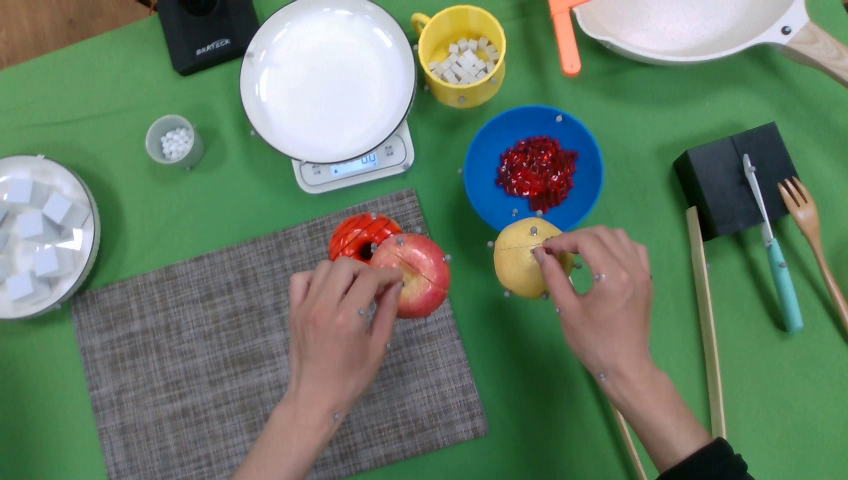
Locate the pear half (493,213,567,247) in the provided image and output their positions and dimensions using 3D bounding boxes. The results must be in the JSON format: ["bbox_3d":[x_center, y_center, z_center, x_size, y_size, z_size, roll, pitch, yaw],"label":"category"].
[{"bbox_3d":[0.099,-0.010,0.583,0.070,0.088,0.031,-15,84,-1],"label":"pear half"}]

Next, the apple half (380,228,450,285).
[{"bbox_3d":[-0.001,0.009,0.576,0.081,0.081,0.033,36,92,9],"label":"apple half"}]

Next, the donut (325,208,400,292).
[{"bbox_3d":[-0.068,0.012,0.705,0.099,0.048,0.099,-1,84,7],"label":"donut"}]

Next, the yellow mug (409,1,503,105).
[{"bbox_3d":[0.031,-0.229,0.719,0.130,0.064,0.100,39,88,10],"label":"yellow mug"}]

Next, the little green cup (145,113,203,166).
[{"bbox_3d":[-0.307,-0.121,0.751,0.061,0.039,0.061,-1,82,6],"label":"little green cup"}]

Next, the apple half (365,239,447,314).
[{"bbox_3d":[-0.023,0.041,0.577,0.081,0.074,0.053,36,92,1],"label":"apple half"}]

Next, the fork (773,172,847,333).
[{"bbox_3d":[0.428,0.022,0.651,0.028,0.018,0.208,-27,96,0],"label":"fork"}]

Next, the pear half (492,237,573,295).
[{"bbox_3d":[0.106,0.024,0.569,0.076,0.110,0.056,-14,84,0],"label":"pear half"}]

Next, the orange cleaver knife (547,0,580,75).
[{"bbox_3d":[0.158,-0.290,0.678,0.077,0.012,0.210,-13,82,6],"label":"orange cleaver knife"}]

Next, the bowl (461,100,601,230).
[{"bbox_3d":[0.118,-0.072,0.685,0.151,0.077,0.151,-1,83,5],"label":"bowl"}]

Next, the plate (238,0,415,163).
[{"bbox_3d":[-0.112,-0.189,0.711,0.209,0.038,0.208,-1,82,5],"label":"plate"}]

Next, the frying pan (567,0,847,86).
[{"bbox_3d":[0.357,-0.268,0.675,0.307,0.103,0.484,-45,73,0],"label":"frying pan"}]

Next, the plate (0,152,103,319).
[{"bbox_3d":[-0.495,-0.005,0.753,0.207,0.039,0.207,-1,82,5],"label":"plate"}]

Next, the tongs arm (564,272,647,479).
[{"bbox_3d":[0.223,0.166,0.667,0.051,0.026,0.383,-17,82,-2],"label":"tongs arm"}]

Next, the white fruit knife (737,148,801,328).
[{"bbox_3d":[0.369,0.000,0.652,0.016,0.027,0.207,-20,96,3],"label":"white fruit knife"}]

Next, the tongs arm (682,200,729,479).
[{"bbox_3d":[0.307,0.148,0.666,0.028,0.028,0.386,-2,83,-3],"label":"tongs arm"}]

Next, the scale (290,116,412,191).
[{"bbox_3d":[-0.104,-0.170,0.742,0.148,0.031,0.200,-14,82,4],"label":"scale"}]
